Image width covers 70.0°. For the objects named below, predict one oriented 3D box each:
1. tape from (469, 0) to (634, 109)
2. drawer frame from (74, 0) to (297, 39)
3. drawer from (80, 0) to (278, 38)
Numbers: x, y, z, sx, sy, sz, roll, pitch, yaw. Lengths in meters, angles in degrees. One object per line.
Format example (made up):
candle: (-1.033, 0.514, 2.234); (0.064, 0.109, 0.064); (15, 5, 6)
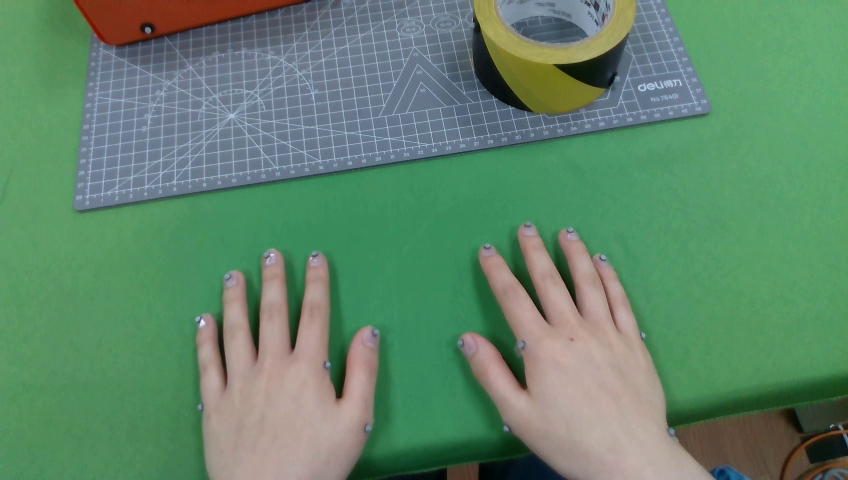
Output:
tape: (0.089, -0.153, 0.433); (0.117, 0.053, 0.116); (-1, 66, 2)
drawer frame: (-0.181, -0.281, 0.483); (0.202, 0.083, 0.211); (-16, 65, -5)
drawer: (-0.179, -0.279, 0.483); (0.194, 0.074, 0.210); (-16, 65, -5)
